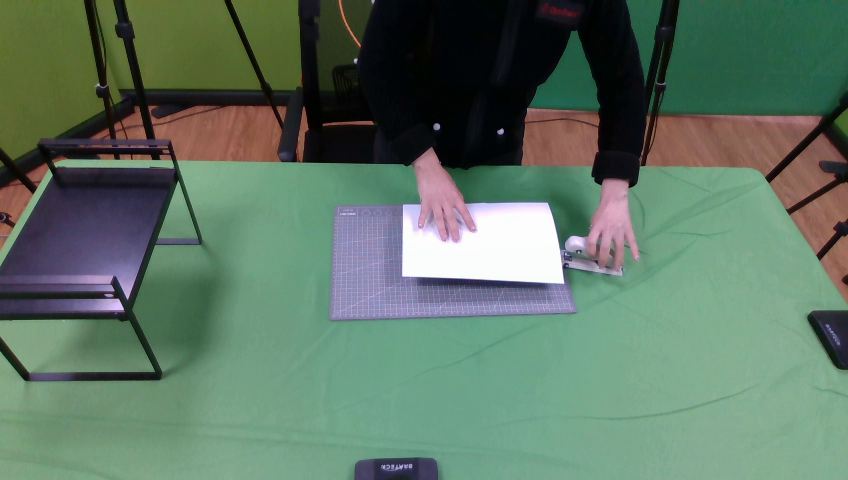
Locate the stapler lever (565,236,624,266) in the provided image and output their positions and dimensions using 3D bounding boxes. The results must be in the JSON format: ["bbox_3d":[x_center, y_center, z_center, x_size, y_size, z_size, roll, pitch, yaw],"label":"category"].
[{"bbox_3d":[0.329,0.020,1.161,0.118,0.040,0.026,10,50,-1],"label":"stapler lever"}]

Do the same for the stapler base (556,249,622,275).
[{"bbox_3d":[0.324,0.037,1.179,0.130,0.024,0.041,10,50,-1],"label":"stapler base"}]
